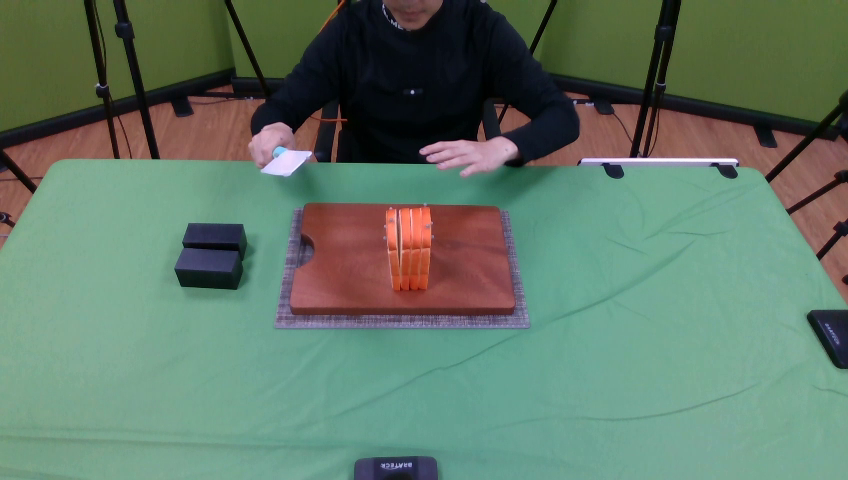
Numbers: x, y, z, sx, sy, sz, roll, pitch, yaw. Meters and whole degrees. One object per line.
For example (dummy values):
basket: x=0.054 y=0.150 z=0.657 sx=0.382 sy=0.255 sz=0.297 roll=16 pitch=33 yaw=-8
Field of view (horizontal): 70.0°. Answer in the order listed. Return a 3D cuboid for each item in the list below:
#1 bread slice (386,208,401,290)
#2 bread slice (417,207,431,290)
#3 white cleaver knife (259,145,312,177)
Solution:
bread slice: x=-0.054 y=0.009 z=1.069 sx=0.019 sy=0.132 sz=0.104 roll=-5 pitch=46 yaw=0
bread slice: x=0.000 y=0.009 z=1.071 sx=0.018 sy=0.135 sz=0.106 roll=0 pitch=49 yaw=-4
white cleaver knife: x=-0.254 y=-0.139 z=1.043 sx=0.066 sy=0.021 sz=0.285 roll=-44 pitch=24 yaw=-14
